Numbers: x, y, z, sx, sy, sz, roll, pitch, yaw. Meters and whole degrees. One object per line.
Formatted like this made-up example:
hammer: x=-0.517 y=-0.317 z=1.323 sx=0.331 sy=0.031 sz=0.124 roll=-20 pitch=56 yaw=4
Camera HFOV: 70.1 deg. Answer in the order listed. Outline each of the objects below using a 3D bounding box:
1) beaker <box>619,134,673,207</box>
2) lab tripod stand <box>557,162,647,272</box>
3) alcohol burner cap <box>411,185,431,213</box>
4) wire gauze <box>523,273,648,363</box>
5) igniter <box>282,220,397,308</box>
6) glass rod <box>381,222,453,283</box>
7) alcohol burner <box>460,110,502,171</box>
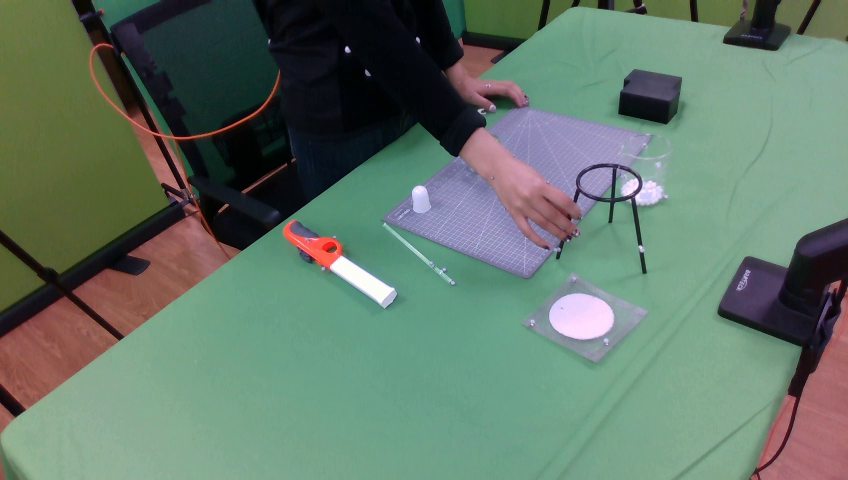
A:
beaker: x=0.357 y=-0.110 z=0.986 sx=0.084 sy=0.101 sz=0.073 roll=-10 pitch=40 yaw=1
lab tripod stand: x=0.271 y=-0.034 z=0.885 sx=0.148 sy=0.132 sz=0.147 roll=-4 pitch=40 yaw=4
alcohol burner cap: x=-0.008 y=-0.074 z=1.050 sx=0.034 sy=0.048 sz=0.033 roll=-4 pitch=40 yaw=4
wire gauze: x=0.220 y=0.105 z=0.828 sx=0.125 sy=0.011 sz=0.120 roll=-35 pitch=47 yaw=-30
igniter: x=-0.145 y=0.032 z=0.966 sx=0.274 sy=0.025 sz=0.057 roll=30 pitch=64 yaw=37
glass rod: x=-0.014 y=0.016 z=0.976 sx=0.008 sy=0.008 sz=0.198 roll=-30 pitch=44 yaw=-22
alcohol burner: x=0.103 y=-0.186 z=1.105 sx=0.078 sy=0.119 sz=0.077 roll=-4 pitch=42 yaw=4
